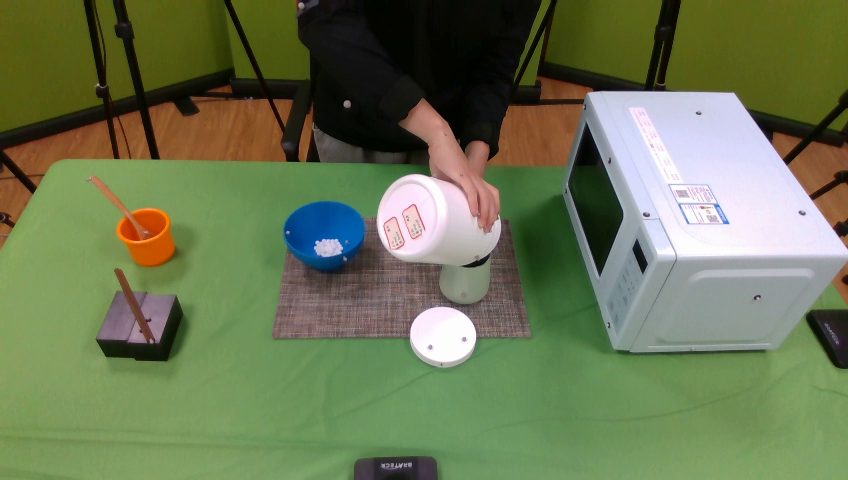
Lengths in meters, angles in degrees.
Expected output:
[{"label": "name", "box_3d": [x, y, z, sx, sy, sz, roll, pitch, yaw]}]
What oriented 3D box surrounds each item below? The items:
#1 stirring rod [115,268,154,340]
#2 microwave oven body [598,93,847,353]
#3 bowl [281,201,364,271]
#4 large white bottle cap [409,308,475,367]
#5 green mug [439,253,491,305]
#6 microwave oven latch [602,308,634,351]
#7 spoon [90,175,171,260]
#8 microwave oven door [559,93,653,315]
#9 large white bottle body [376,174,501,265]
[{"label": "stirring rod", "box_3d": [-0.479, 0.103, 0.999, 0.014, 0.006, 0.175, 8, 32, -49]}, {"label": "microwave oven body", "box_3d": [0.475, -0.041, 1.109, 0.326, 0.261, 0.438, -1, 45, -4]}, {"label": "bowl", "box_3d": [-0.187, 0.005, 1.137, 0.151, 0.077, 0.150, 3, 46, -3]}, {"label": "large white bottle cap", "box_3d": [0.031, 0.166, 1.041, 0.115, 0.018, 0.114, 2, 46, -2]}, {"label": "green mug", "box_3d": [0.072, 0.044, 1.101, 0.092, 0.105, 0.124, -6, 47, -9]}, {"label": "microwave oven latch", "box_3d": [0.332, 0.153, 1.044, 0.030, 0.029, 0.078, -1, 45, -4]}, {"label": "spoon", "box_3d": [-0.539, -0.042, 1.111, 0.041, 0.194, 0.021, -45, 19, -32]}, {"label": "microwave oven door", "box_3d": [0.327, -0.074, 1.123, 0.039, 0.245, 0.353, -1, 46, -5]}, {"label": "large white bottle body", "box_3d": [0.030, -0.027, 0.956, 0.130, 0.131, 0.185, 44, 21, 32]}]
